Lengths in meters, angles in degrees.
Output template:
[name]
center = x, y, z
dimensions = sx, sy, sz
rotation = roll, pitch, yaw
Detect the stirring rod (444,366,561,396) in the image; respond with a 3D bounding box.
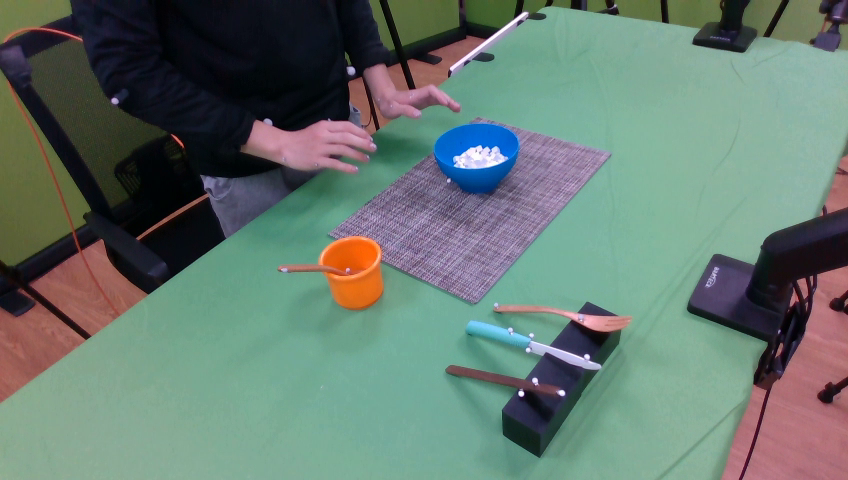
[stirring rod]
center = 0.088, 0.166, 0.718
dimensions = 0.175, 0.006, 0.014
rotation = -1, 25, 48

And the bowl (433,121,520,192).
[bowl]
center = 0.094, -0.137, 1.064
dimensions = 0.151, 0.077, 0.150
rotation = -4, 41, 4

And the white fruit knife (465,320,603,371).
[white fruit knife]
center = 0.128, 0.129, 0.749
dimensions = 0.205, 0.027, 0.016
rotation = 11, 45, 44

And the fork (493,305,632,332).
[fork]
center = 0.171, 0.097, 0.783
dimensions = 0.205, 0.019, 0.028
rotation = 4, 40, 43

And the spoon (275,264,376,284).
[spoon]
center = -0.133, 0.044, 0.839
dimensions = 0.041, 0.195, 0.021
rotation = 24, 95, 33
